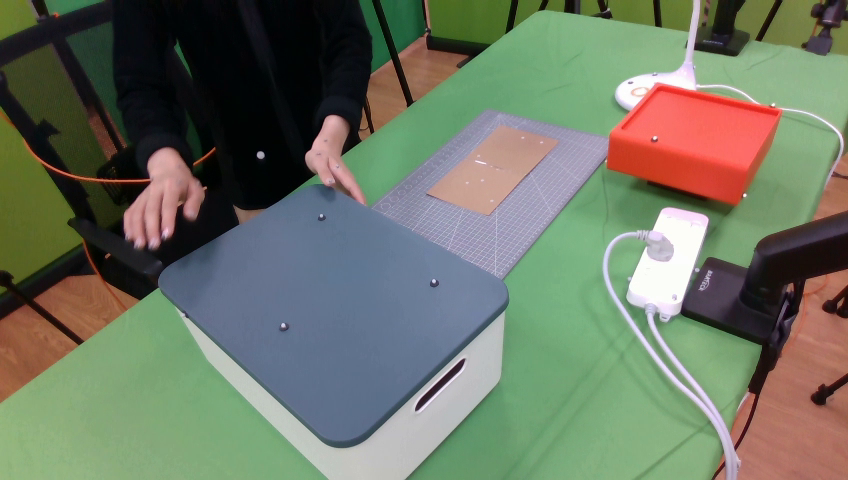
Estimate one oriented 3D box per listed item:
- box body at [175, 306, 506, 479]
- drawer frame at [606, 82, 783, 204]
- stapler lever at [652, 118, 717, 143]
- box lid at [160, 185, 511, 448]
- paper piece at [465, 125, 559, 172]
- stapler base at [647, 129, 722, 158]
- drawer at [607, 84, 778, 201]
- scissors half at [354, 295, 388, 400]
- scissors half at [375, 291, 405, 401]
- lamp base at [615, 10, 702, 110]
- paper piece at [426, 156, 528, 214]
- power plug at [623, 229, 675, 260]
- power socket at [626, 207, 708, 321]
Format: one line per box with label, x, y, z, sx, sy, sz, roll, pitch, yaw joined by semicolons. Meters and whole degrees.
box body;-0.105;0.111;0.751;0.361;0.161;0.255;28;52;34
drawer frame;0.441;-0.167;0.995;0.212;0.083;0.202;23;48;30
stapler lever;0.436;-0.192;1.014;0.118;0.040;0.026;-15;24;-16
box lid;-0.114;0.054;0.705;0.368;0.015;0.264;28;51;34
paper piece;0.172;-0.177;1.167;0.137;0.009;0.136;21;44;31
stapler base;0.439;-0.167;1.023;0.131;0.024;0.041;-17;25;-15
drawer;0.438;-0.167;0.995;0.210;0.073;0.195;23;48;30
scissors half;-0.068;0.142;0.818;0.040;0.013;0.174;-21;44;1
scissors half;-0.048;0.138;0.816;0.040;0.013;0.174;-5;46;9
lamp base;0.484;-0.364;1.211;0.180;0.181;0.159;-15;41;-14
paper piece;0.096;-0.103;1.089;0.134;0.004;0.136;24;48;31
power plug;0.327;0.007;0.878;0.072;0.053;0.035;25;51;32
power socket;0.360;0.026;0.886;0.072;0.033;0.227;16;46;26
